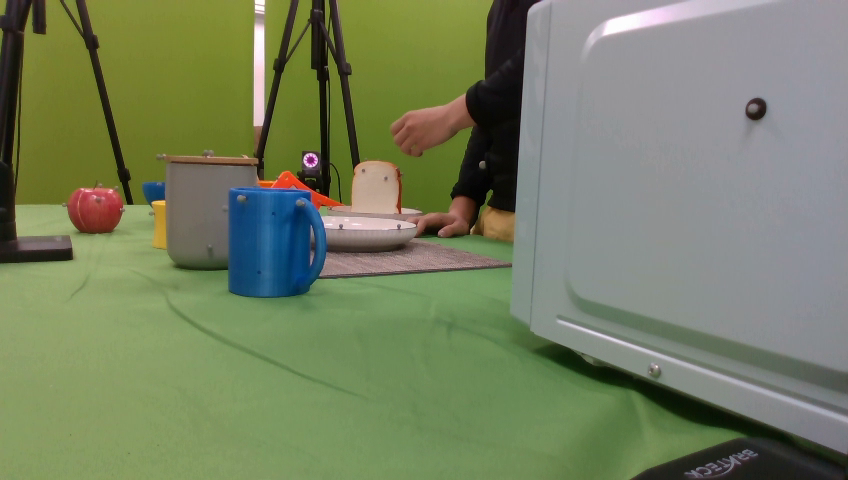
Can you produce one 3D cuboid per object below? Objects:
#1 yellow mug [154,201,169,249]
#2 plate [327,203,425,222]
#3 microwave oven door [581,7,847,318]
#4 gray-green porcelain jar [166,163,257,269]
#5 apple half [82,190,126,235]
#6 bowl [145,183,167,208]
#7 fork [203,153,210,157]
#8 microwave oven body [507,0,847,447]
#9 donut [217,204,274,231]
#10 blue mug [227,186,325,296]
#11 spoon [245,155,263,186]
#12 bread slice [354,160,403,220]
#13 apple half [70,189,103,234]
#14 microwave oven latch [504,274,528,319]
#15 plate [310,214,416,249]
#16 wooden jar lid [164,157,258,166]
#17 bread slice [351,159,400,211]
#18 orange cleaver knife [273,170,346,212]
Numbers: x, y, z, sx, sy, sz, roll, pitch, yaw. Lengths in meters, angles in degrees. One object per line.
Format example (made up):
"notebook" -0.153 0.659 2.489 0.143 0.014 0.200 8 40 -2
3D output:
"yellow mug" -0.337 -0.022 0.899 0.130 0.064 0.100 8 9 34
"plate" -0.102 -0.053 1.299 0.209 0.038 0.209 2 7 0
"microwave oven door" 0.295 -0.067 0.569 0.358 0.243 0.039 -3 8 -31
"gray-green porcelain jar" -0.263 -0.031 0.754 0.106 0.126 0.106 2 7 0
"apple half" -0.516 -0.046 0.994 0.032 0.081 0.081 0 6 26
"bowl" -0.459 -0.068 1.175 0.151 0.077 0.151 3 7 0
"fork" -0.480 -0.136 1.411 0.028 0.018 0.207 0 -34 -1
"microwave oven body" 0.331 -0.042 0.425 0.444 0.260 0.324 -2 8 -31
"donut" -0.317 -0.038 1.080 0.099 0.048 0.099 3 7 0
"blue mug" -0.147 0.000 0.618 0.116 0.106 0.083 7 9 32
"spoon" -0.421 -0.150 1.540 0.042 0.193 0.021 -6 -35 -36
"bread slice" -0.096 -0.110 1.324 0.105 0.131 0.019 5 2 5
"apple half" -0.552 -0.048 1.010 0.053 0.074 0.081 -1 9 26
"microwave oven latch" 0.100 0.041 0.471 0.079 0.029 0.030 -1 8 -28
"plate" -0.117 -0.014 0.967 0.208 0.039 0.207 2 7 0
"wooden jar lid" -0.261 -0.093 0.746 0.108 0.020 0.108 1 9 0
"bread slice" -0.102 -0.104 1.273 0.107 0.134 0.018 -1 4 4
"orange cleaver knife" -0.253 -0.089 1.368 0.212 0.077 0.012 26 -8 -42
